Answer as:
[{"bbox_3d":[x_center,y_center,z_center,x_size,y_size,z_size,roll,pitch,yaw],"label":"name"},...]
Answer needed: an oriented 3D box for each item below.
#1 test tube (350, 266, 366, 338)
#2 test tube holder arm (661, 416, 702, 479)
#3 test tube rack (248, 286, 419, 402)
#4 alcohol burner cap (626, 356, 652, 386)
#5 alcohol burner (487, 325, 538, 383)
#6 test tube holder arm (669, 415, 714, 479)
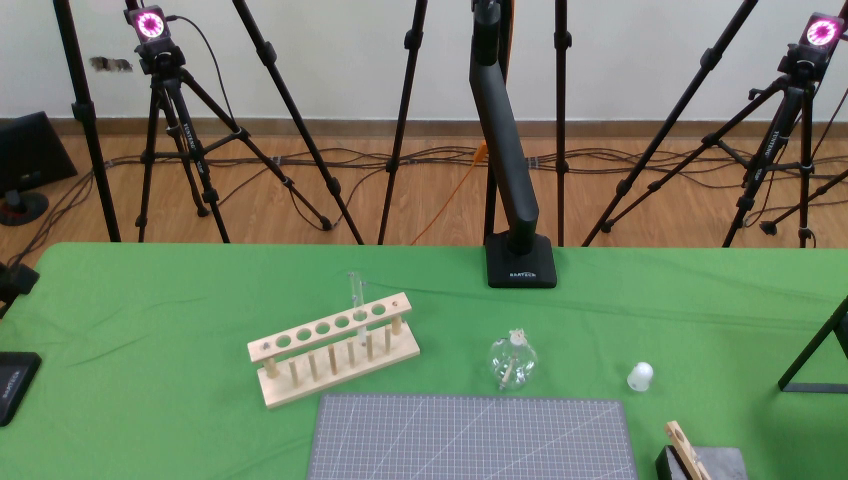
[{"bbox_3d":[-0.097,0.096,0.907,0.017,0.151,0.017,0,42,0],"label":"test tube"},{"bbox_3d":[0.340,0.274,0.796,0.010,0.015,0.087,-12,50,-13],"label":"test tube holder arm"},{"bbox_3d":[-0.131,0.156,0.919,0.243,0.086,0.066,-17,50,-15],"label":"test tube rack"},{"bbox_3d":[0.327,0.196,0.916,0.034,0.048,0.033,-1,47,1],"label":"alcohol burner cap"},{"bbox_3d":[0.133,0.161,0.898,0.078,0.120,0.077,1,49,-1],"label":"alcohol burner"},{"bbox_3d":[0.360,0.305,0.770,0.013,0.015,0.176,-13,50,-14],"label":"test tube holder arm"}]
